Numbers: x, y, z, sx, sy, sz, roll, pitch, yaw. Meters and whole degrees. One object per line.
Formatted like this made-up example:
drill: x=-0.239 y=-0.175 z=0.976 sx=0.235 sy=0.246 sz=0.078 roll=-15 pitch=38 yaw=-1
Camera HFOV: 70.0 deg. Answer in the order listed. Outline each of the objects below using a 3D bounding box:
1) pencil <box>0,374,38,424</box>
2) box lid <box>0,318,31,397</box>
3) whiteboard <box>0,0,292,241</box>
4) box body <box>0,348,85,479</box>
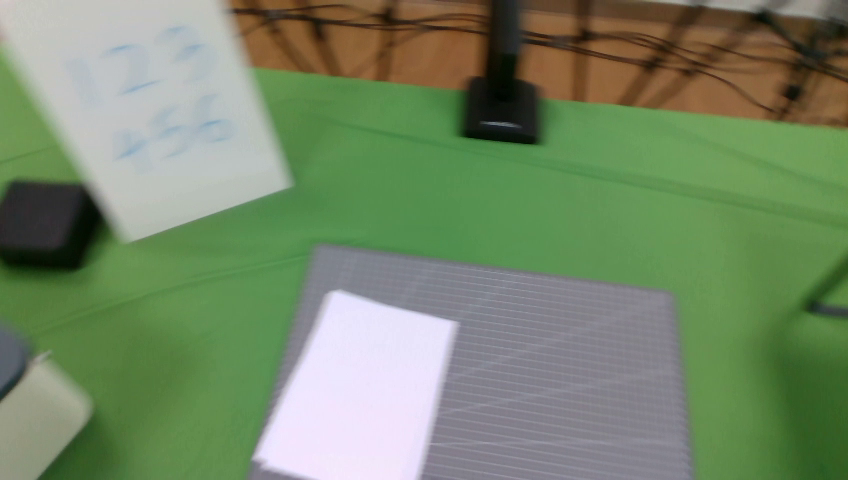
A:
pencil: x=-0.450 y=0.214 z=0.602 sx=0.012 sy=0.012 sz=0.192 roll=11 pitch=45 yaw=6
box lid: x=-0.549 y=0.106 z=0.499 sx=0.370 sy=0.015 sz=0.262 roll=26 pitch=60 yaw=14
whiteboard: x=-0.320 y=-0.191 z=0.744 sx=0.217 sy=0.308 sz=0.142 roll=-21 pitch=40 yaw=-15
box body: x=-0.549 y=0.147 z=0.561 sx=0.362 sy=0.162 sz=0.253 roll=26 pitch=60 yaw=14
